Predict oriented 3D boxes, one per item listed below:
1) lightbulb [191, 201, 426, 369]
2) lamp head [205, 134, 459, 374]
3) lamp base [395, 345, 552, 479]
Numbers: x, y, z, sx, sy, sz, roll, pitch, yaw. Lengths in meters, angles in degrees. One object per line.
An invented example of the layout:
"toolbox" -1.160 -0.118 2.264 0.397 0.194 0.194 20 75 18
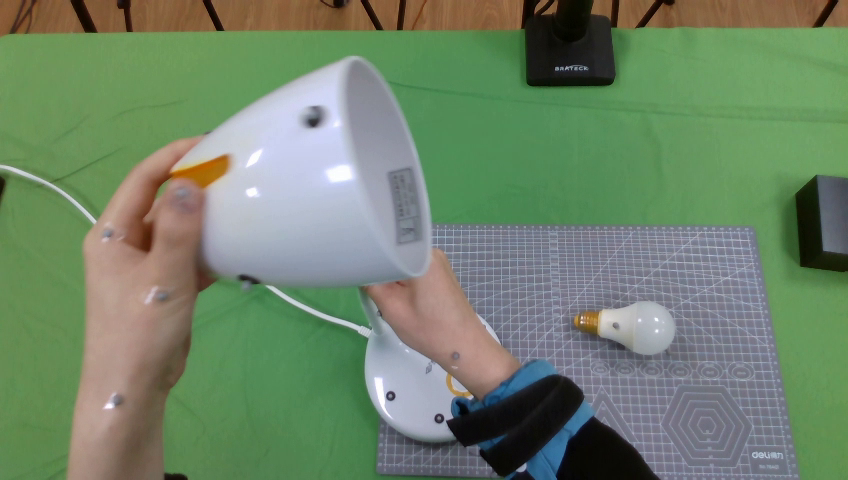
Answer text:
"lightbulb" -0.050 0.024 0.264 0.108 0.060 0.059 -28 67 -6
"lamp head" -0.056 0.021 0.317 0.113 0.123 0.111 20 57 -32
"lamp base" 0.043 0.162 0.606 0.179 0.182 0.159 9 67 11
